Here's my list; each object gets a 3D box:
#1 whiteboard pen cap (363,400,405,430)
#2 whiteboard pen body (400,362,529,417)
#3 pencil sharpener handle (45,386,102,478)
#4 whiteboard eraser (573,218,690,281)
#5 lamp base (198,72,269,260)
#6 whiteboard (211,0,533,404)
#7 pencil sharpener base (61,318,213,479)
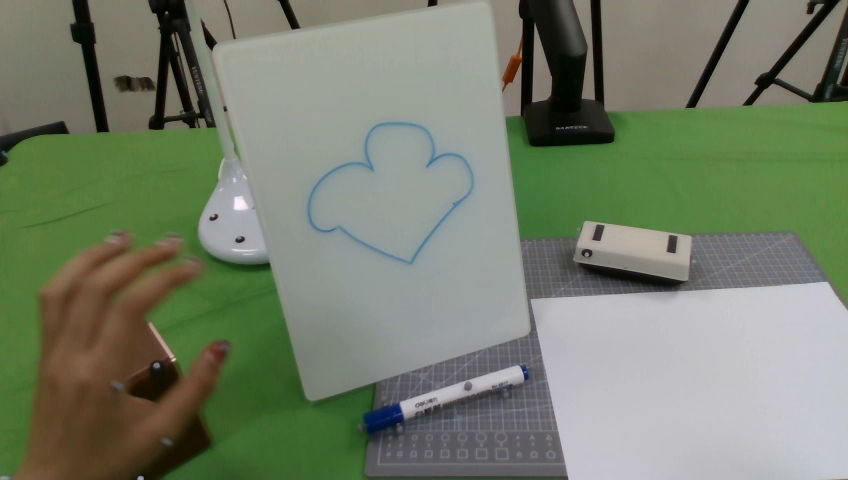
[{"bbox_3d":[-0.032,0.144,0.501,0.033,0.018,0.018,-16,39,-13],"label":"whiteboard pen cap"},{"bbox_3d":[0.023,0.129,0.513,0.141,0.017,0.017,-15,39,-12],"label":"whiteboard pen body"},{"bbox_3d":[-0.261,0.142,0.440,0.030,0.068,0.035,-30,32,-28],"label":"pencil sharpener handle"},{"bbox_3d":[0.217,0.011,0.634,0.112,0.042,0.055,10,41,18],"label":"whiteboard eraser"},{"bbox_3d":[-0.207,-0.093,0.699,0.177,0.182,0.160,26,47,37],"label":"lamp base"},{"bbox_3d":[-0.042,-0.043,0.565,0.217,0.307,0.142,-15,20,-12],"label":"whiteboard"},{"bbox_3d":[-0.223,0.128,0.475,0.077,0.108,0.060,-30,45,-28],"label":"pencil sharpener base"}]
